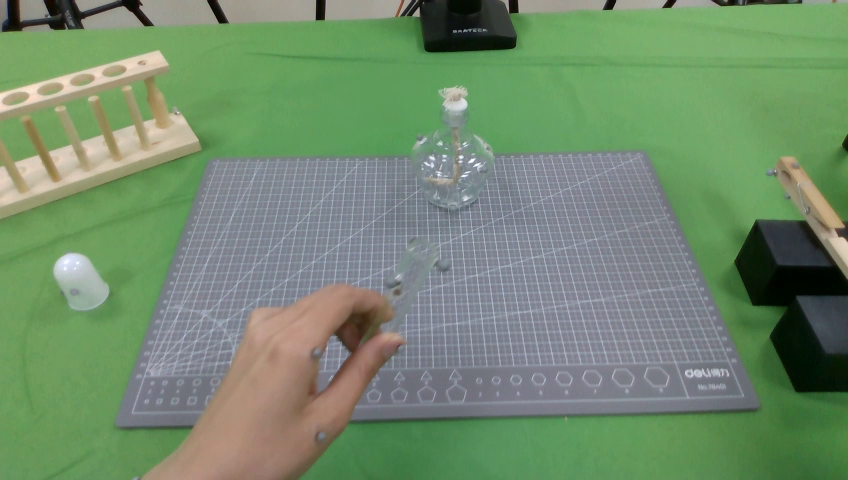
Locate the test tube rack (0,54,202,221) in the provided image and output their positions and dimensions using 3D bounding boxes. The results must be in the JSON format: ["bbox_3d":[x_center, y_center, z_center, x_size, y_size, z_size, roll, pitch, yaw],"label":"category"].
[{"bbox_3d":[-0.352,-0.093,0.578,0.243,0.086,0.066,-25,50,-22],"label":"test tube rack"}]

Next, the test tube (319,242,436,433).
[{"bbox_3d":[-0.030,0.059,0.328,0.017,0.151,0.017,19,35,-13],"label":"test tube"}]

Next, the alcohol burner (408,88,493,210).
[{"bbox_3d":[0.025,-0.085,0.546,0.078,0.120,0.077,1,46,-1],"label":"alcohol burner"}]

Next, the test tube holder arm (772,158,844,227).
[{"bbox_3d":[0.313,-0.038,0.495,0.015,0.010,0.087,3,44,-6],"label":"test tube holder arm"}]

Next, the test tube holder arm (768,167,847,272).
[{"bbox_3d":[0.314,-0.003,0.466,0.015,0.013,0.176,3,43,-6],"label":"test tube holder arm"}]

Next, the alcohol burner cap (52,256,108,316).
[{"bbox_3d":[-0.278,0.034,0.484,0.034,0.048,0.033,1,45,0],"label":"alcohol burner cap"}]
